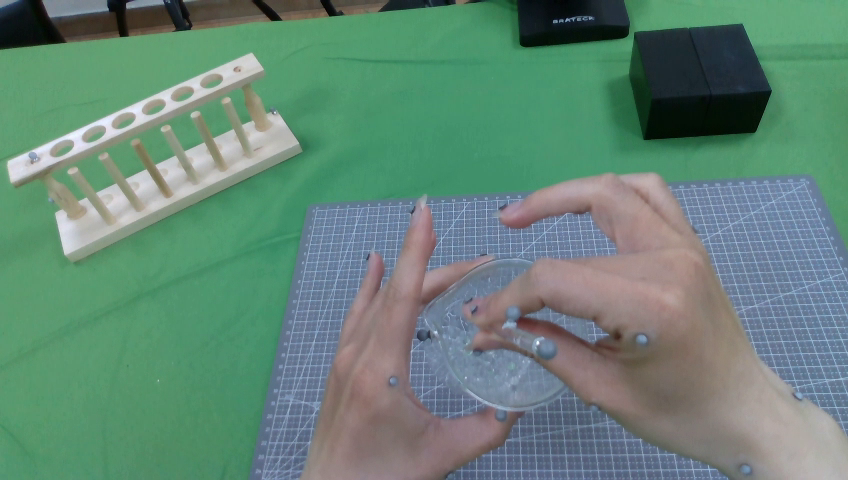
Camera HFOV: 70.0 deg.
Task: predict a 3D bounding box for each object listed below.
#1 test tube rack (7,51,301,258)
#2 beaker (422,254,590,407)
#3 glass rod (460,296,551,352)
[{"bbox_3d":[-0.252,-0.084,0.587,0.242,0.086,0.066,-28,54,-12],"label":"test tube rack"},{"bbox_3d":[0.036,0.052,0.341,0.084,0.100,0.073,14,77,-3],"label":"beaker"},{"bbox_3d":[0.032,0.036,0.289,0.008,0.199,0.008,0,88,-3],"label":"glass rod"}]
